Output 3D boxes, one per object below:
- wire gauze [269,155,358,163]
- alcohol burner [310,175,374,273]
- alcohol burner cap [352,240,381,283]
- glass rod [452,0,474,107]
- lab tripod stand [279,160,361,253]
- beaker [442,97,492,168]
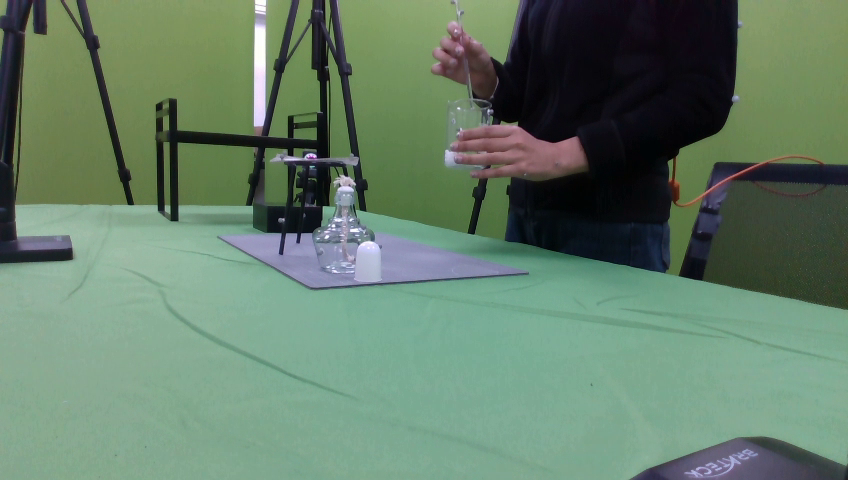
[{"bbox_3d":[-0.159,-0.118,0.886,0.122,0.011,0.125,1,7,-9],"label":"wire gauze"},{"bbox_3d":[-0.100,-0.020,0.740,0.078,0.119,0.078,1,6,0],"label":"alcohol burner"},{"bbox_3d":[-0.065,0.023,0.690,0.034,0.048,0.034,2,8,0],"label":"alcohol burner cap"},{"bbox_3d":[0.058,-0.302,0.938,0.008,0.199,0.008,-8,-6,-1],"label":"glass rod"},{"bbox_3d":[-0.166,-0.052,0.897,0.148,0.131,0.148,0,7,0],"label":"lab tripod stand"},{"bbox_3d":[0.063,-0.165,0.935,0.073,0.100,0.084,3,2,34],"label":"beaker"}]
